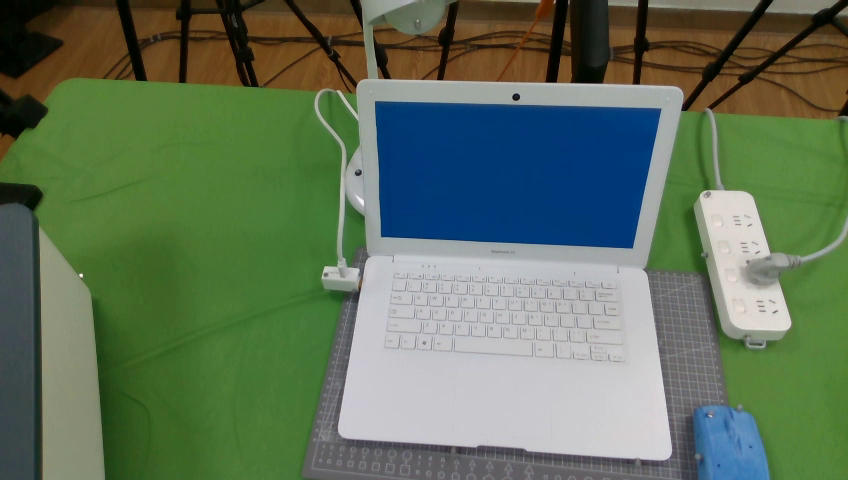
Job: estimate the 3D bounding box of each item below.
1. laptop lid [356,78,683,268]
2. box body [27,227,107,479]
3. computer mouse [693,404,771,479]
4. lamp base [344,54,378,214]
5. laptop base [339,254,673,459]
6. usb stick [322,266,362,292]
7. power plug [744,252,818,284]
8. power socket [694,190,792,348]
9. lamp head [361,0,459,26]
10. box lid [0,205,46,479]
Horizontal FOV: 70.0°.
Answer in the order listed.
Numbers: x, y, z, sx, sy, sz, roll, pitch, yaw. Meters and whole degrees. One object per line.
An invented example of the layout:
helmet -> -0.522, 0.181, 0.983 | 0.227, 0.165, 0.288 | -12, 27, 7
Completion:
laptop lid -> 0.101, -0.070, 0.710 | 0.356, 0.243, 0.013 | 1, 31, 5
box body -> -0.478, 0.178, 0.604 | 0.254, 0.162, 0.360 | -18, 56, -11
computer mouse -> 0.311, 0.220, 0.613 | 0.062, 0.041, 0.116 | 7, 51, 9
lamp base -> -0.043, -0.141, 0.801 | 0.161, 0.182, 0.177 | -29, 55, -17
laptop base -> 0.092, 0.126, 0.705 | 0.354, 0.023, 0.233 | 2, 58, 4
usb stick -> -0.095, 0.049, 0.751 | 0.059, 0.027, 0.021 | 7, 50, 5
power plug -> 0.418, 0.040, 0.716 | 0.072, 0.053, 0.035 | 12, 55, 9
power socket -> 0.392, 0.026, 0.755 | 0.072, 0.033, 0.224 | 3, 54, 3
lamp head -> -0.018, -0.266, 0.546 | 0.112, 0.112, 0.123 | -22, 100, -12
box lid -> -0.481, 0.132, 0.544 | 0.264, 0.015, 0.367 | -18, 57, -11
